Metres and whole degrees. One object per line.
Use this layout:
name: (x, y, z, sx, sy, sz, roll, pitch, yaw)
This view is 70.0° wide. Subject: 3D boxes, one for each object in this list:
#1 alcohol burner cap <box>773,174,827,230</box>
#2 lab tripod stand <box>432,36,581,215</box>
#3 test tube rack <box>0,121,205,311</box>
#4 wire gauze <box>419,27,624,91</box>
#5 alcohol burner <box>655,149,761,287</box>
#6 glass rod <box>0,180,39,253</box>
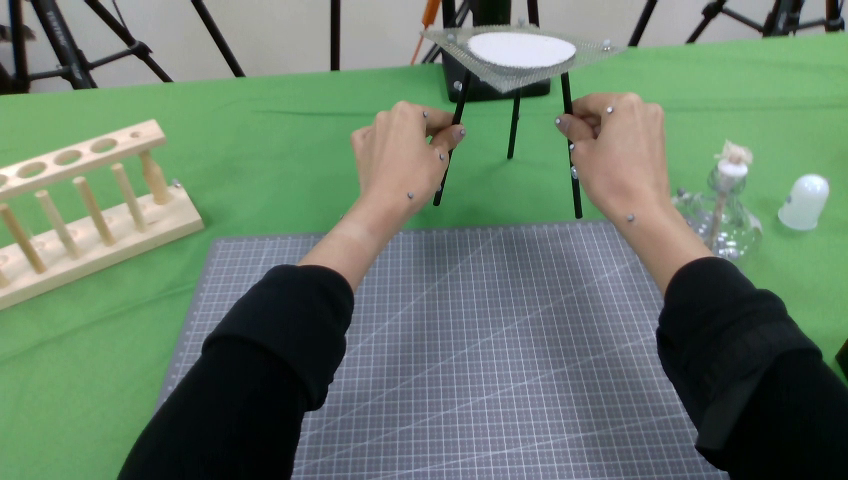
alcohol burner cap: (0.330, -0.036, 0.528, 0.034, 0.048, 0.033, -1, 43, 2)
lab tripod stand: (0.080, -0.099, 0.527, 0.148, 0.132, 0.147, 2, 34, -1)
test tube rack: (-0.325, -0.011, 0.511, 0.242, 0.086, 0.066, -25, 47, -22)
wire gauze: (0.075, -0.153, 0.487, 0.122, 0.011, 0.123, -18, 39, -25)
alcohol burner: (0.220, -0.021, 0.462, 0.078, 0.120, 0.077, -1, 45, 2)
glass rod: (-0.338, -0.059, 0.465, 0.008, 0.201, 0.008, 2, 43, -2)
